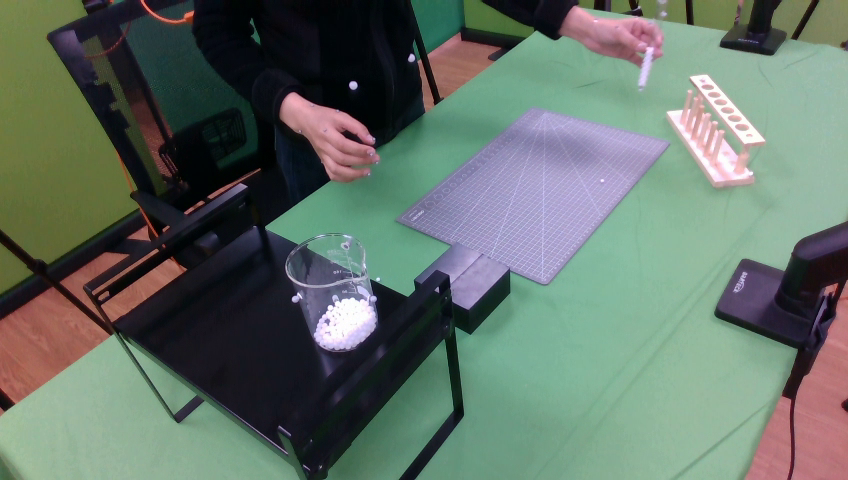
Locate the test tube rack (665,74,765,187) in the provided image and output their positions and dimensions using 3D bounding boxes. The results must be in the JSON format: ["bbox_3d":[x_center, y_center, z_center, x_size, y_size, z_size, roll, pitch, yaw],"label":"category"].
[{"bbox_3d":[0.512,-0.202,1.082,0.067,0.085,0.241,-5,41,2],"label":"test tube rack"}]

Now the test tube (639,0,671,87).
[{"bbox_3d":[0.384,-0.326,1.010,0.017,0.150,0.017,1,39,0],"label":"test tube"}]

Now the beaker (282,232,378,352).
[{"bbox_3d":[-0.084,0.054,0.587,0.083,0.101,0.074,17,47,25],"label":"beaker"}]
